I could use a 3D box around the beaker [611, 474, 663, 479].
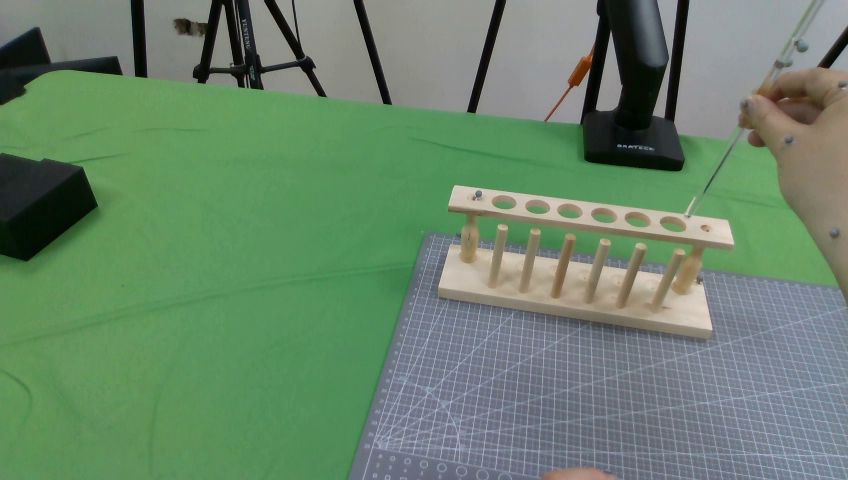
[{"bbox_3d":[0.102,0.184,0.318,0.084,0.101,0.073,0,40,-9],"label":"beaker"}]

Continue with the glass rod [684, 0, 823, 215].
[{"bbox_3d":[0.222,-0.081,0.422,0.008,0.201,0.008,1,54,-1],"label":"glass rod"}]

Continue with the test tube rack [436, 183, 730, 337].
[{"bbox_3d":[0.137,0.016,0.548,0.242,0.086,0.066,8,40,8],"label":"test tube rack"}]
